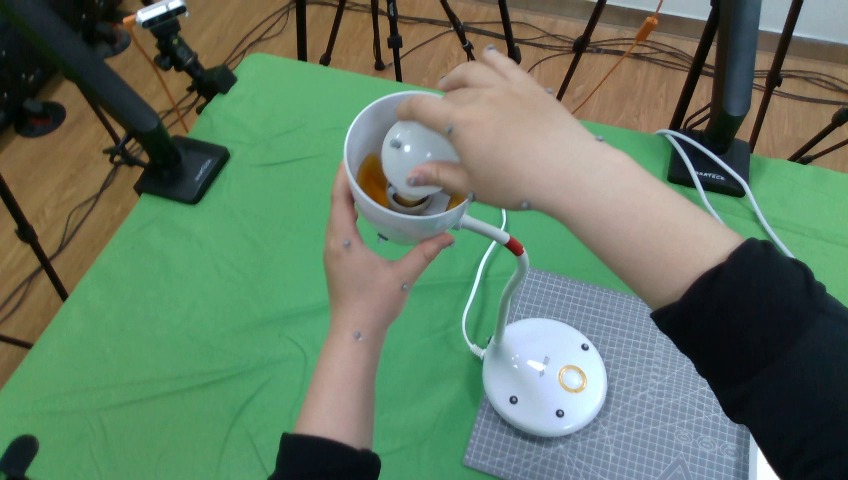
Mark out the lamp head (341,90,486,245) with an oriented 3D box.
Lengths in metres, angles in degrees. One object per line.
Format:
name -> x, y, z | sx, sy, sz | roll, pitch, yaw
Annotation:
lamp head -> -0.008, -0.045, 0.507 | 0.112, 0.124, 0.111 | 0, 65, 1

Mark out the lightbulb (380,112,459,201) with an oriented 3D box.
lightbulb -> -0.007, -0.058, 0.478 | 0.060, 0.108, 0.059 | 3, 71, -8

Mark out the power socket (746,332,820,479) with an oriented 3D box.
power socket -> 0.439, 0.214, 0.743 | 0.072, 0.033, 0.225 | 14, 58, 11

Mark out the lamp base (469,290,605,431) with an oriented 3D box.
lamp base -> 0.137, 0.125, 0.728 | 0.179, 0.182, 0.159 | 9, 57, 12
